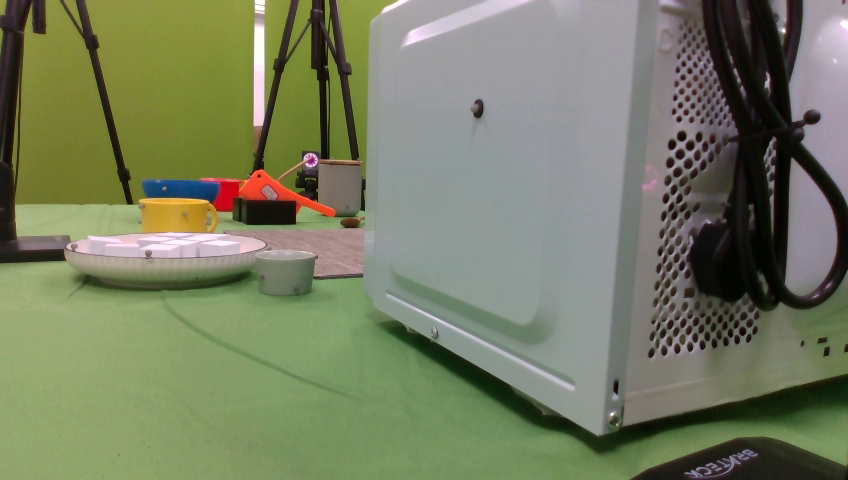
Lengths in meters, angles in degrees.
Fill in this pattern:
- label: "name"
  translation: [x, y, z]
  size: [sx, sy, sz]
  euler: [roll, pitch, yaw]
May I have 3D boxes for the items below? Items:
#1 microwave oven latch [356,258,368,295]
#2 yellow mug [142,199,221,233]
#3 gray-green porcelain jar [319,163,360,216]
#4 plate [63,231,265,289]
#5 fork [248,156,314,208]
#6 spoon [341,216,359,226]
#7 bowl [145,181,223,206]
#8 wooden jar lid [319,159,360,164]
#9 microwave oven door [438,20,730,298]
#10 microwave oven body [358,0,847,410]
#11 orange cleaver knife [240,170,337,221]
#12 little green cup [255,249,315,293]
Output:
- label: "microwave oven latch"
  translation: [-0.019, 0.031, 0.529]
  size: [0.079, 0.029, 0.030]
  euler: [-1, 7, -26]
- label: "yellow mug"
  translation: [-0.373, -0.030, 0.947]
  size: [0.099, 0.064, 0.131]
  euler: [6, 8, 30]
- label: "gray-green porcelain jar"
  translation: [-0.204, -0.126, 1.490]
  size: [0.106, 0.126, 0.106]
  euler: [2, 8, 0]
- label: "plate"
  translation: [-0.288, 0.021, 0.687]
  size: [0.208, 0.039, 0.207]
  euler: [2, 8, 0]
- label: "fork"
  translation: [-0.360, -0.147, 1.523]
  size: [0.207, 0.019, 0.028]
  euler: [-43, 17, -6]
- label: "spoon"
  translation: [-0.132, -0.048, 1.305]
  size: [0.041, 0.021, 0.194]
  euler: [-13, 4, 14]
- label: "bowl"
  translation: [-0.499, -0.081, 1.261]
  size: [0.151, 0.077, 0.151]
  euler: [2, 8, 0]
- label: "wooden jar lid"
  translation: [-0.202, -0.189, 1.482]
  size: [0.108, 0.020, 0.108]
  euler: [2, 10, 0]
- label: "microwave oven door"
  translation: [0.181, -0.076, 0.618]
  size: [0.358, 0.243, 0.039]
  euler: [-2, 8, -28]
- label: "microwave oven body"
  translation: [0.210, -0.051, 0.471]
  size: [0.444, 0.260, 0.324]
  euler: [-1, 7, -28]
- label: "orange cleaver knife"
  translation: [-0.287, -0.081, 1.299]
  size: [0.212, 0.077, 0.012]
  euler: [25, -2, -31]
- label: "little green cup"
  translation: [-0.144, 0.031, 0.627]
  size: [0.061, 0.038, 0.061]
  euler: [2, 6, 0]
